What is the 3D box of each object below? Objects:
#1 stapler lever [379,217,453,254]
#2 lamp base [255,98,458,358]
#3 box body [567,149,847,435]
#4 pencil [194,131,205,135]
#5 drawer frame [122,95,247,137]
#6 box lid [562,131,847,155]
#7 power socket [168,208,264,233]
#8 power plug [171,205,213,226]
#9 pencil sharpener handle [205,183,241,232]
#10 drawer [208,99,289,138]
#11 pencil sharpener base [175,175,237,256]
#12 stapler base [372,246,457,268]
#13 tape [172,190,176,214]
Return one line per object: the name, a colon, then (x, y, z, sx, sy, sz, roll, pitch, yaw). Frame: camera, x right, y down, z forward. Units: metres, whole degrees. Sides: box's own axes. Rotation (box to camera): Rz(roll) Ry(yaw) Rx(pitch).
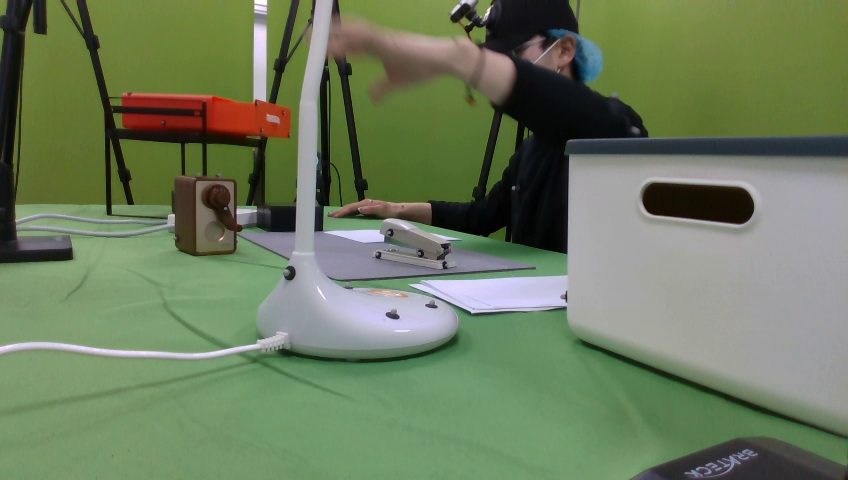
stapler lever: (-0.014, -0.007, 0.827, 0.117, 0.040, 0.027, 9, 11, 39)
lamp base: (-0.056, -0.013, 0.462, 0.160, 0.180, 0.180, 6, 11, 27)
box body: (0.318, 0.009, 0.471, 0.366, 0.160, 0.253, -2, 8, -31)
pencil: (-0.425, -0.252, 1.347, 0.012, 0.012, 0.195, 8, 21, 38)
drawer frame: (-0.526, -0.281, 1.376, 0.213, 0.082, 0.202, 3, 8, 8)
box lid: (0.322, -0.064, 0.463, 0.373, 0.015, 0.262, -2, 9, -31)
power socket: (-0.381, -0.038, 1.129, 0.072, 0.032, 0.227, 4, 8, 17)
power plug: (-0.455, -0.040, 1.196, 0.052, 0.035, 0.072, 1, 43, 24)
pencil sharpener handle: (-0.265, -0.043, 0.812, 0.036, 0.068, 0.030, -31, 27, -35)
drawer: (-0.433, -0.273, 1.364, 0.211, 0.073, 0.195, 2, 8, 9)
pencil sharpener base: (-0.304, -0.035, 0.847, 0.062, 0.107, 0.076, -4, 10, -42)
stapler base: (-0.016, 0.017, 0.831, 0.130, 0.024, 0.041, 10, 12, 39)
tape: (-0.516, -0.086, 1.389, 0.117, 0.052, 0.117, 4, 7, 0)
